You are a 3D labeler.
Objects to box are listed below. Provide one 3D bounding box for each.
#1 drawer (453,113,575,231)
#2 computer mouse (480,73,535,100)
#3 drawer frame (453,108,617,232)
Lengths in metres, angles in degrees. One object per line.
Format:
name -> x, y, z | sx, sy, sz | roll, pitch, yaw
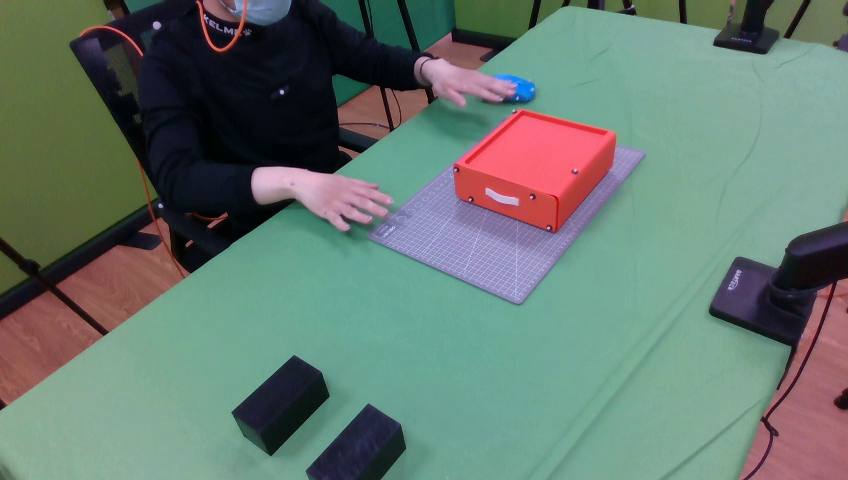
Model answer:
drawer -> 0.189, -0.126, 1.038 | 0.193, 0.073, 0.212 | 22, 48, 31
computer mouse -> 0.183, -0.335, 1.320 | 0.117, 0.041, 0.063 | 11, 41, 14
drawer frame -> 0.191, -0.128, 1.039 | 0.200, 0.083, 0.214 | 21, 47, 30
